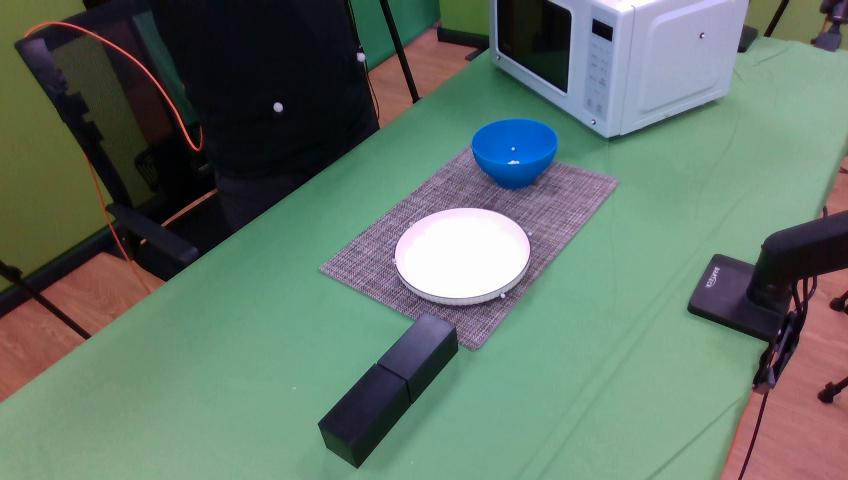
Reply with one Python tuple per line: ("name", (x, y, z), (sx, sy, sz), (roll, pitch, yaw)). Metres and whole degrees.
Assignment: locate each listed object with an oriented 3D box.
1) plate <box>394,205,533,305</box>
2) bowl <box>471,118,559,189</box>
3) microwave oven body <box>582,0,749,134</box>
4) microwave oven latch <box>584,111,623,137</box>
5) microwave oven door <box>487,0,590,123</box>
("plate", (0.059, 0.025, 0.915), (0.207, 0.039, 0.206), (-4, 41, 4))
("bowl", (0.160, -0.144, 1.066), (0.151, 0.077, 0.150), (-4, 41, 4))
("microwave oven body", (0.382, -0.444, 1.246), (0.327, 0.261, 0.437), (-22, 42, -16))
("microwave oven latch", (0.337, -0.222, 1.142), (0.030, 0.029, 0.078), (-21, 42, -14))
("microwave oven door", (0.232, -0.420, 1.230), (0.039, 0.245, 0.352), (-22, 42, -16))
